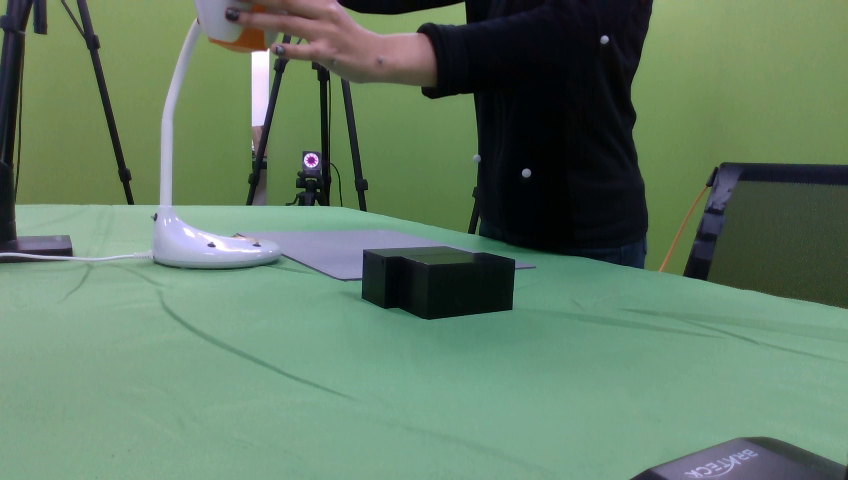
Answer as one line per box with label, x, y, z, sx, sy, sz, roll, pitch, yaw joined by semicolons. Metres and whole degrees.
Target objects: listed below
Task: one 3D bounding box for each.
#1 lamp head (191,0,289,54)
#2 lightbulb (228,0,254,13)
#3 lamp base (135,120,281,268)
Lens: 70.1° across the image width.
lamp head;-0.188;-0.252;0.607;0.112;0.123;0.112;10;20;-4
lightbulb;-0.174;-0.280;0.596;0.059;0.107;0.059;14;16;-4
lamp base;-0.276;-0.061;0.773;0.180;0.180;0.160;-9;13;-44
